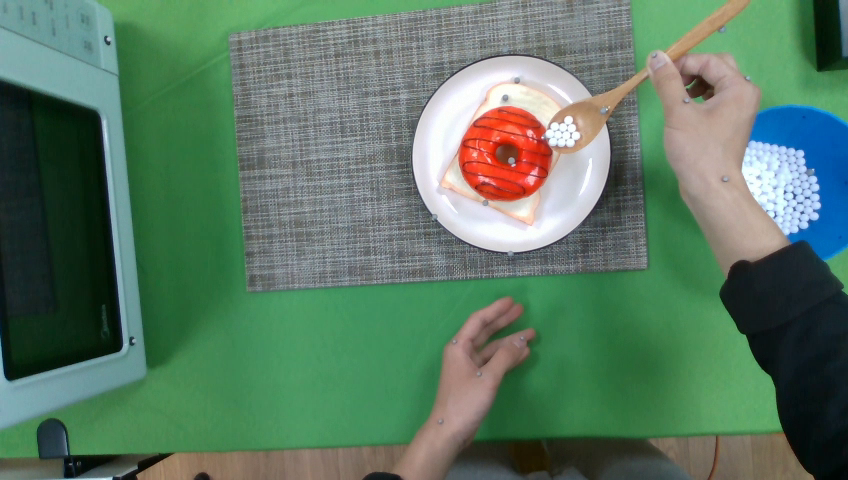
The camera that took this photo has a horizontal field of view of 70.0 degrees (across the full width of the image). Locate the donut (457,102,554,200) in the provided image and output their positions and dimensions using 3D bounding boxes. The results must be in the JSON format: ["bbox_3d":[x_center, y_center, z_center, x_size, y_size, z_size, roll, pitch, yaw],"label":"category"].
[{"bbox_3d":[0.082,-0.090,0.617,0.099,0.048,0.099,0,91,9],"label":"donut"}]

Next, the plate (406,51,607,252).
[{"bbox_3d":[0.086,-0.092,0.645,0.207,0.039,0.207,0,91,8],"label":"plate"}]

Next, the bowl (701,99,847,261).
[{"bbox_3d":[0.341,-0.054,0.593,0.151,0.077,0.151,0,90,8],"label":"bowl"}]

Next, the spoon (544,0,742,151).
[{"bbox_3d":[0.181,-0.140,0.512,0.194,0.021,0.041,-37,86,36],"label":"spoon"}]

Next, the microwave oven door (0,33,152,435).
[{"bbox_3d":[-0.371,-0.011,0.593,0.039,0.244,0.355,-7,90,9],"label":"microwave oven door"}]

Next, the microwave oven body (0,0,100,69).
[{"bbox_3d":[-0.518,-0.037,0.618,0.326,0.260,0.441,-6,90,7],"label":"microwave oven body"}]

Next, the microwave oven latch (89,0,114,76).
[{"bbox_3d":[-0.377,-0.229,0.693,0.030,0.029,0.079,-5,91,7],"label":"microwave oven latch"}]

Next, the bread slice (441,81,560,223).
[{"bbox_3d":[0.089,-0.099,0.646,0.107,0.018,0.134,20,96,7],"label":"bread slice"}]
